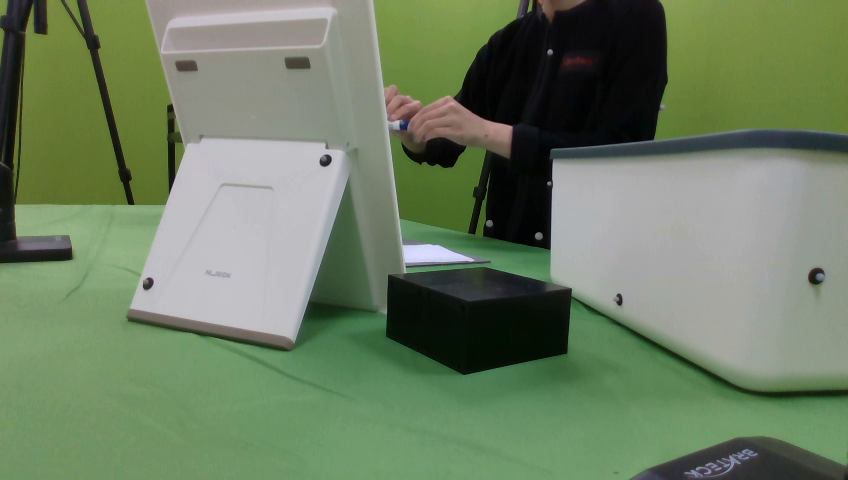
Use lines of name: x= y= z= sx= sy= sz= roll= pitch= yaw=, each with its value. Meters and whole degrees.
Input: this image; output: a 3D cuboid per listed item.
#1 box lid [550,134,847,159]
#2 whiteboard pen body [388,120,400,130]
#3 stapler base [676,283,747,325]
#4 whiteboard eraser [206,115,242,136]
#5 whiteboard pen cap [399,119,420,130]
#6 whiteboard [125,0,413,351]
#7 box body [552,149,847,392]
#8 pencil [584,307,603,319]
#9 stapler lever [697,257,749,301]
box lid: x=0.294 y=-0.071 z=0.538 sx=0.264 sy=0.015 sz=0.370 roll=2 pitch=6 yaw=-10
whiteboard pen body: x=-0.080 y=-0.189 z=0.991 sx=0.140 sy=0.017 sz=0.017 roll=5 pitch=8 yaw=22
stapler base: x=0.283 y=0.057 z=0.585 sx=0.041 sy=0.024 sz=0.131 roll=29 pitch=17 yaw=34
whiteboard eraser: x=-0.438 y=-0.249 z=1.320 sx=0.056 sy=0.042 sz=0.112 roll=-3 pitch=9 yaw=-30
whiteboard pen cap: x=-0.024 y=-0.185 z=0.968 sx=0.033 sy=0.018 sz=0.018 roll=5 pitch=8 yaw=27
whiteboard: x=-0.151 y=-0.050 z=0.471 sx=0.216 sy=0.305 sz=0.144 roll=6 pitch=27 yaw=24
box body: x=0.290 y=0.002 z=0.549 sx=0.255 sy=0.160 sz=0.363 roll=2 pitch=7 yaw=-10
pencil: x=0.250 y=0.054 z=0.656 sx=0.195 sy=0.012 sz=0.012 roll=-14 pitch=14 yaw=-25
stapler lever: x=0.290 y=0.035 z=0.580 sx=0.026 sy=0.040 sz=0.119 roll=29 pitch=19 yaw=34
